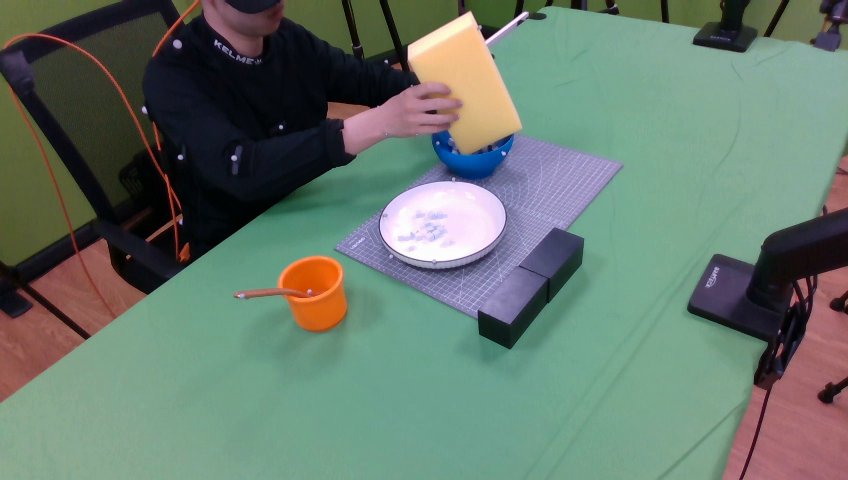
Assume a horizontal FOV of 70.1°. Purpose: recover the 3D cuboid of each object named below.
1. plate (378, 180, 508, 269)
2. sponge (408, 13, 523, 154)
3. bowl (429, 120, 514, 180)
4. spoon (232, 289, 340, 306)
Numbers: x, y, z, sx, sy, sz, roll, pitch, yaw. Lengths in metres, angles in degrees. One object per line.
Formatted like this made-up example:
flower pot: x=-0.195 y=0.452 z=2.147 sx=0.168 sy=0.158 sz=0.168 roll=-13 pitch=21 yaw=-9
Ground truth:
plate: x=0.031 y=-0.022 z=0.974 sx=0.209 sy=0.038 sz=0.208 roll=-4 pitch=40 yaw=4
sponge: x=0.072 y=-0.256 z=1.025 sx=0.118 sy=0.208 sz=0.060 roll=-24 pitch=37 yaw=14
bowl: x=0.089 y=-0.162 z=1.098 sx=0.151 sy=0.077 sz=0.150 roll=-4 pitch=40 yaw=4
spoon: x=-0.181 y=0.074 z=0.811 sx=0.041 sy=0.195 sz=0.021 roll=16 pitch=90 yaw=31
